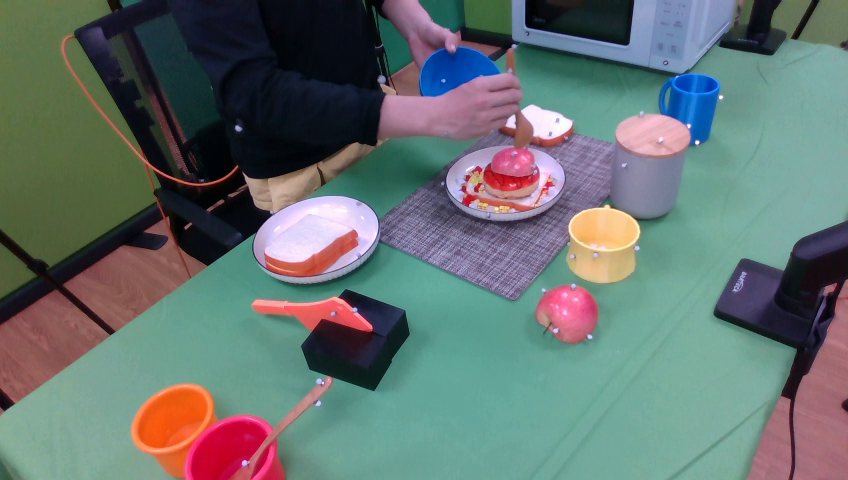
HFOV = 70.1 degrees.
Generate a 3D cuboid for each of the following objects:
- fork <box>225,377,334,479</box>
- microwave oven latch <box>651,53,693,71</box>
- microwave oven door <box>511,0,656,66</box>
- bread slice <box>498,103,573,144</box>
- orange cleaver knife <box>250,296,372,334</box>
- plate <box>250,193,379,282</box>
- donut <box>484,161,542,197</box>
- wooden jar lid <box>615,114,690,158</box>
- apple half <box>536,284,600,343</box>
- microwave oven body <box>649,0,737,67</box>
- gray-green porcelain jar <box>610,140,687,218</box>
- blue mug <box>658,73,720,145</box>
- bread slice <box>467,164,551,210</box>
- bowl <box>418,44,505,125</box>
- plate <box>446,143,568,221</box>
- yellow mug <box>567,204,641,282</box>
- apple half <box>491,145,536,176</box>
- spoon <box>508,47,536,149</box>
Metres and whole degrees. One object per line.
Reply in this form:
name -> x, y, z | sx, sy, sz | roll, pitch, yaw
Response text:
fork -> -0.163, 0.216, 0.646 | 0.207, 0.019, 0.028 | -49, 42, 16
microwave oven latch -> 0.532, -0.386, 1.301 | 0.078, 0.029, 0.030 | 27, 52, 34
microwave oven door -> 0.350, -0.539, 1.348 | 0.353, 0.245, 0.039 | 24, 50, 31
bread slice -> 0.231, -0.232, 1.205 | 0.105, 0.019, 0.130 | -36, 48, -29
orange cleaver knife -> -0.159, 0.103, 0.828 | 0.210, 0.078, 0.012 | -4, 43, 39
plate -> -0.174, -0.001, 0.984 | 0.209, 0.038, 0.208 | -3, 40, 3
donut -> 0.149, -0.110, 1.016 | 0.099, 0.048, 0.098 | -4, 40, 4
wooden jar lid -> 0.347, -0.155, 0.923 | 0.108, 0.021, 0.108 | -3, 44, 4
apple half -> 0.196, 0.091, 0.815 | 0.075, 0.053, 0.080 | -22, 42, -20
microwave oven body -> 0.475, -0.602, 1.411 | 0.438, 0.261, 0.327 | 23, 50, 32
gray-green porcelain jar -> 0.354, -0.106, 0.964 | 0.106, 0.127, 0.105 | -4, 41, 4
blue mug -> 0.483, -0.250, 1.127 | 0.082, 0.106, 0.115 | -26, 44, -19
bread slice -> 0.142, -0.094, 1.042 | 0.133, 0.018, 0.107 | 8, 44, 20
bowl -> 0.059, -0.257, 1.061 | 0.152, 0.077, 0.151 | 4, 70, -9
plate -> 0.142, -0.097, 1.045 | 0.207, 0.039, 0.206 | -4, 41, 4
yellow mug -> 0.268, -0.005, 0.905 | 0.099, 0.064, 0.130 | 7, 42, 15
apple half -> 0.147, -0.138, 0.994 | 0.081, 0.033, 0.081 | 0, 37, 0
spoon -> 0.139, -0.202, 0.885 | 0.041, 0.195, 0.021 | -39, 52, -11
